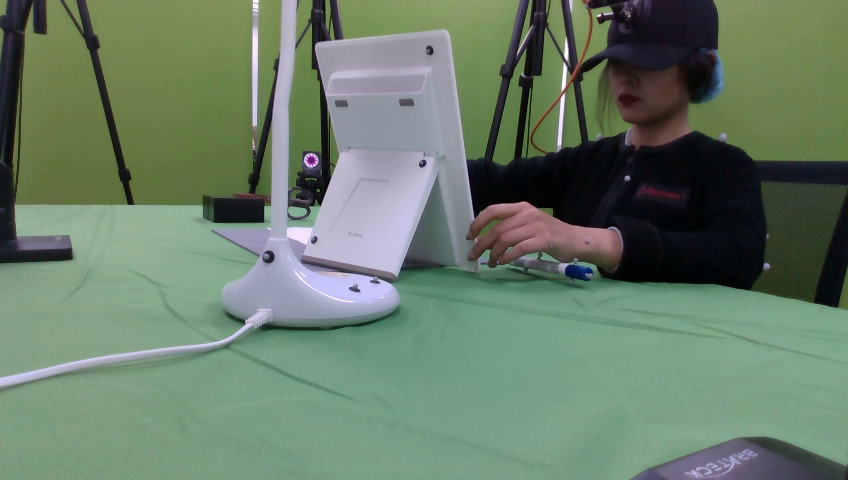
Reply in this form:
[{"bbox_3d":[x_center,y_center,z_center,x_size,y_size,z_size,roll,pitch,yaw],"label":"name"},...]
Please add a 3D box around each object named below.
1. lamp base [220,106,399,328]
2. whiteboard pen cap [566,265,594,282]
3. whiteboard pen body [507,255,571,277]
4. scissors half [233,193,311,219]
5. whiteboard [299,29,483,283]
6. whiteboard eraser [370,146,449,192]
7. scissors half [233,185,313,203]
[{"bbox_3d":[-0.102,-0.023,0.531,0.160,0.180,0.179,4,10,10],"label":"lamp base"},{"bbox_3d":[0.185,0.040,0.722,0.018,0.018,0.033,-3,7,-33],"label":"whiteboard pen cap"},{"bbox_3d":[0.156,0.034,0.773,0.017,0.017,0.140,-2,7,-32],"label":"whiteboard pen body"},{"bbox_3d":[-0.330,-0.078,1.319,0.176,0.040,0.013,16,3,-32],"label":"scissors half"},{"bbox_3d":[-0.074,-0.082,0.741,0.216,0.305,0.144,9,30,38],"label":"whiteboard"},{"bbox_3d":[-0.023,-0.093,0.815,0.112,0.055,0.042,2,29,40],"label":"whiteboard eraser"},{"bbox_3d":[-0.326,-0.098,1.315,0.176,0.040,0.012,-5,19,-29],"label":"scissors half"}]
